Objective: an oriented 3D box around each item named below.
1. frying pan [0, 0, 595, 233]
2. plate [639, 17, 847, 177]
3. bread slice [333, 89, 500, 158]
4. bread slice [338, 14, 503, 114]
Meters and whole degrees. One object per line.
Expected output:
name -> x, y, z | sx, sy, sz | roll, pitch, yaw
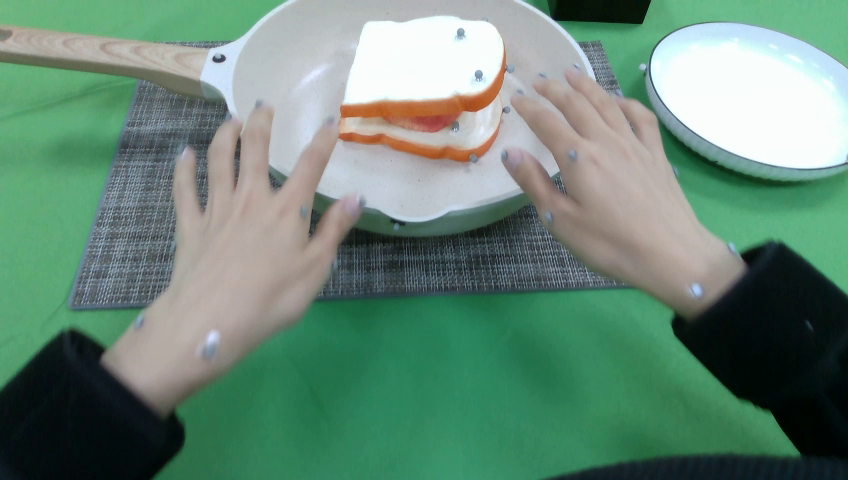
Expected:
frying pan -> -0.113, -0.130, 0.490 | 0.489, 0.103, 0.304 | 7, 52, -9
plate -> 0.302, -0.131, 0.564 | 0.208, 0.039, 0.205 | 2, 53, -2
bread slice -> -0.001, -0.118, 0.536 | 0.134, 0.018, 0.106 | 10, 54, 4
bread slice -> -0.001, -0.149, 0.502 | 0.131, 0.019, 0.104 | 1, 59, 12
